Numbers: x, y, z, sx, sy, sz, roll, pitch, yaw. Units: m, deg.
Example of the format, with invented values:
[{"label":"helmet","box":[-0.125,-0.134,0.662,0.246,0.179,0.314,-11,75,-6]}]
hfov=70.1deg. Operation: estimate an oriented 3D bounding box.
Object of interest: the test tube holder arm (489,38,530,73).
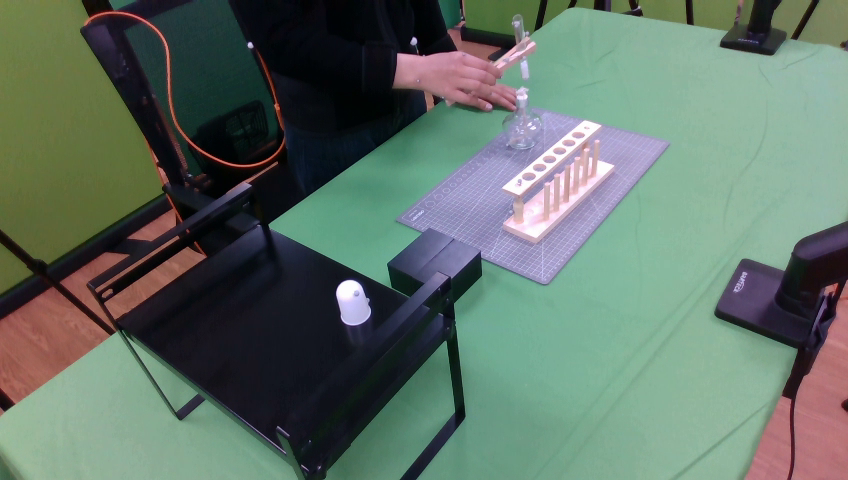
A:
[{"label":"test tube holder arm","box":[0.145,-0.310,1.027,0.088,0.015,0.010,-42,60,-6]}]

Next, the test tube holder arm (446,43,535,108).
[{"label":"test tube holder arm","box":[0.113,-0.278,1.021,0.178,0.015,0.013,-36,59,-3]}]

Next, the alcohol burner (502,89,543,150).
[{"label":"alcohol burner","box":[0.186,-0.233,1.147,0.078,0.119,0.077,-5,42,5]}]

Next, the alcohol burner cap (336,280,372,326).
[{"label":"alcohol burner cap","box":[-0.073,0.061,0.619,0.034,0.048,0.033,-5,42,5]}]

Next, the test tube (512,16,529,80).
[{"label":"test tube","box":[0.165,-0.322,1.026,0.017,0.151,0.017,-5,66,13]}]

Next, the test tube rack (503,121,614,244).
[{"label":"test tube rack","box":[0.230,-0.101,1.006,0.066,0.085,0.243,26,50,34]}]
